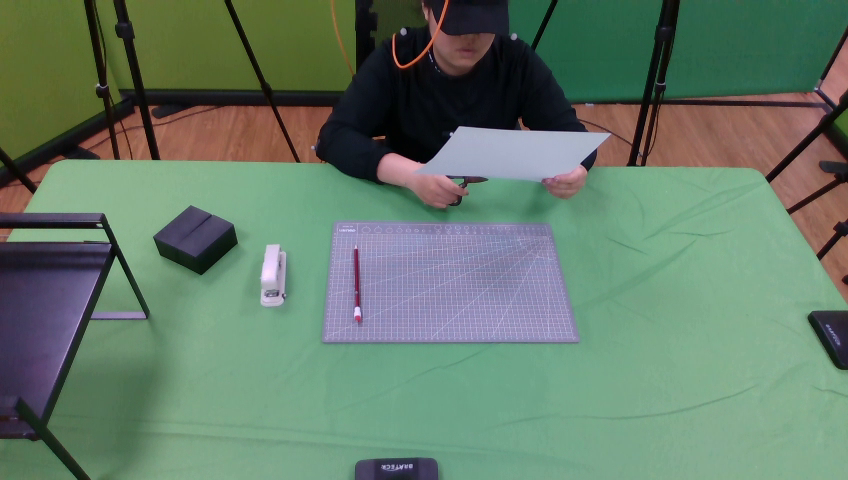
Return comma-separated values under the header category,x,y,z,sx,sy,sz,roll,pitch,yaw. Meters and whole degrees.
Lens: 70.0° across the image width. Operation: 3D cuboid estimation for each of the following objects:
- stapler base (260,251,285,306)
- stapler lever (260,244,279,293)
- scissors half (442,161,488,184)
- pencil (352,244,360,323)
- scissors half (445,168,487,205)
category,x,y,z,sx,sy,sz,roll,pitch,yaw
stapler base,-0.279,0.064,1.113,0.041,0.024,0.129,-2,44,-9
stapler lever,-0.279,0.045,1.096,0.027,0.040,0.117,-2,44,-9
scissors half,0.080,-0.130,1.194,0.013,0.040,0.174,-6,17,-26
pencil,-0.127,0.075,1.119,0.012,0.012,0.192,-2,44,-7
scissors half,0.083,-0.107,1.195,0.013,0.175,0.040,-11,78,-25
